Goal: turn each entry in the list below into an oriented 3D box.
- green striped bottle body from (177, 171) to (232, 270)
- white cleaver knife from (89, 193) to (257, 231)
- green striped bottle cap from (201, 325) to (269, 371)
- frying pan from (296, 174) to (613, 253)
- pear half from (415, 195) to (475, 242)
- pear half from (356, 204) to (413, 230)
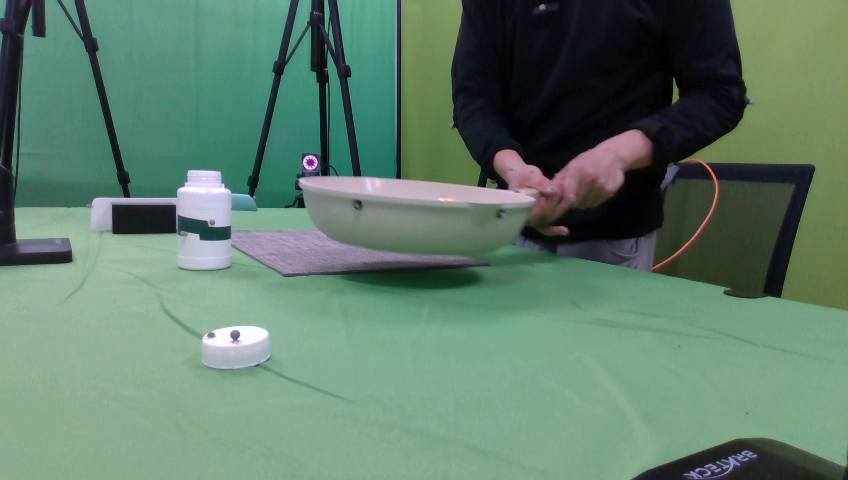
[{"bbox_3d":[-0.273,-0.026,0.753,0.063,0.119,0.063,2,7,0],"label":"green striped bottle body"},{"bbox_3d":[-0.454,-0.052,1.115,0.288,0.066,0.021,-4,14,-27],"label":"white cleaver knife"},{"bbox_3d":[-0.129,0.073,0.415,0.044,0.020,0.044,3,8,0],"label":"green striped bottle cap"},{"bbox_3d":[0.077,-0.056,0.813,0.490,0.102,0.305,-10,16,-28],"label":"frying pan"},{"bbox_3d":[0.023,-0.031,0.780,0.077,0.056,0.109,7,5,-21],"label":"pear half"},{"bbox_3d":[-0.048,-0.032,0.814,0.070,0.031,0.088,20,20,41],"label":"pear half"}]
